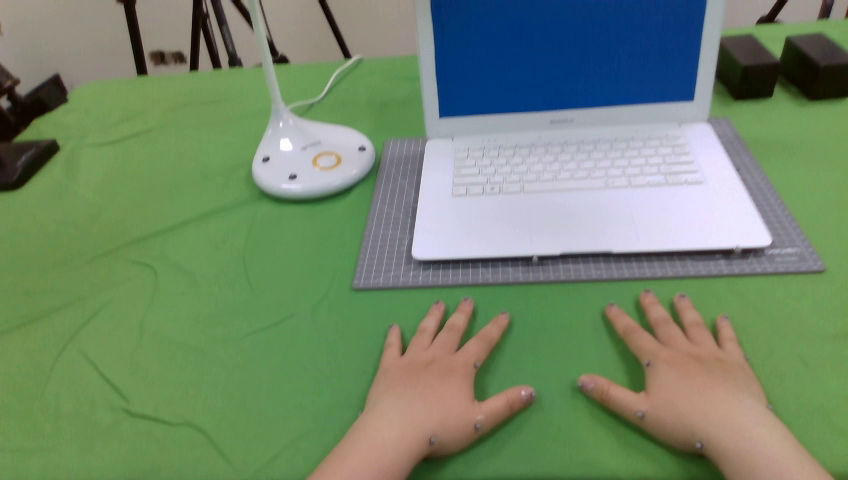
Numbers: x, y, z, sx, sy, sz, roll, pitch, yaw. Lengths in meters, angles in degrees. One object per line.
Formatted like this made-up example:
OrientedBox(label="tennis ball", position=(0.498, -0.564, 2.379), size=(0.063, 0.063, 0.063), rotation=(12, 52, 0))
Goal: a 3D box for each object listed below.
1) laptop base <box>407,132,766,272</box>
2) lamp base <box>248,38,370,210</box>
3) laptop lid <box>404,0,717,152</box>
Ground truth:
OrientedBox(label="laptop base", position=(0.164, -0.046, 0.690), size=(0.354, 0.023, 0.233), rotation=(-3, 41, 6))
OrientedBox(label="lamp base", position=(-0.168, -0.152, 0.752), size=(0.177, 0.182, 0.160), rotation=(24, 47, 38))
OrientedBox(label="laptop lid", position=(0.159, -0.222, 0.722), size=(0.356, 0.244, 0.013), rotation=(-4, 30, 7))
